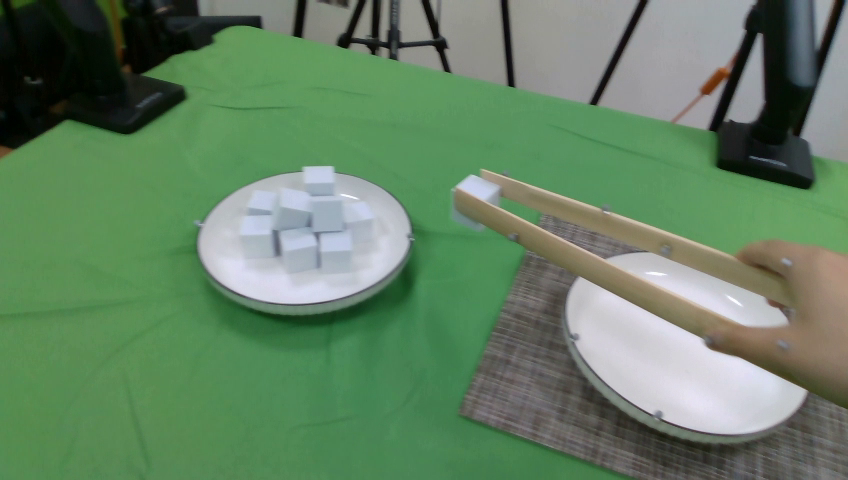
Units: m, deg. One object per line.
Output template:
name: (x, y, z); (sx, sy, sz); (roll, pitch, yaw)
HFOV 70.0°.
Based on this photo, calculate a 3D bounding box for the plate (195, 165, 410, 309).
plate: (-0.119, -0.003, 0.611); (0.209, 0.038, 0.207); (3, 41, -2)

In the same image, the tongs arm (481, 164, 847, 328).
tongs arm: (0.187, 0.022, 0.420); (0.381, 0.027, 0.050); (24, 50, 31)

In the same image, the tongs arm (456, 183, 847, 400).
tongs arm: (0.170, 0.035, 0.408); (0.384, 0.028, 0.028); (28, 49, 34)

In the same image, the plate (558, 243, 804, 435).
plate: (0.221, 0.085, 0.540); (0.208, 0.039, 0.205); (3, 42, -2)
